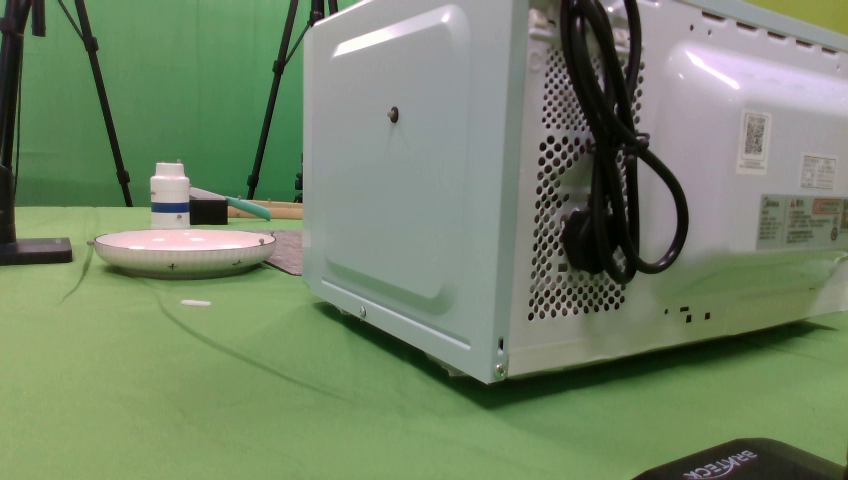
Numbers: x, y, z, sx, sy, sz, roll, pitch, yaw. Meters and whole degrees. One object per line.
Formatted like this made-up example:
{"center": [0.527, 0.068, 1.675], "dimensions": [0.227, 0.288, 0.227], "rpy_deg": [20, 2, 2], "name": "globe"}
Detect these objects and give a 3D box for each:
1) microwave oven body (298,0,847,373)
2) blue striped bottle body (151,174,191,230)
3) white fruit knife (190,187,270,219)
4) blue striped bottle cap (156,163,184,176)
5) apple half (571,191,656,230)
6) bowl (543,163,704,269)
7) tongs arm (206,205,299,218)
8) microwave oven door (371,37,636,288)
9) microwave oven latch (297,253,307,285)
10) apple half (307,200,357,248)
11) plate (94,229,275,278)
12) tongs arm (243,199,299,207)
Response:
{"center": [0.151, -0.055, 0.542], "dimensions": [0.444, 0.260, 0.324], "rpy_deg": [-1, 7, -33], "name": "microwave oven body"}
{"center": [-0.439, -0.071, 1.052], "dimensions": [0.063, 0.120, 0.063], "rpy_deg": [2, 7, 0], "name": "blue striped bottle body"}
{"center": [-0.413, -0.081, 1.270], "dimensions": [0.208, 0.027, 0.016], "rpy_deg": [17, 14, -41], "name": "white fruit knife"}
{"center": [-0.438, -0.122, 1.045], "dimensions": [0.044, 0.020, 0.044], "rpy_deg": [5, 6, 0], "name": "blue striped bottle cap"}
{"center": [0.181, -0.030, 0.584], "dimensions": [0.081, 0.033, 0.081], "rpy_deg": [9, -5, 1], "name": "apple half"}
{"center": [0.181, -0.020, 0.585], "dimensions": [0.151, 0.077, 0.151], "rpy_deg": [13, 7, -1], "name": "bowl"}
{"center": [-0.302, -0.065, 1.407], "dimensions": [0.389, 0.028, 0.028], "rpy_deg": [1, 4, -15], "name": "tongs arm"}
{"center": [0.110, -0.080, 0.686], "dimensions": [0.358, 0.243, 0.039], "rpy_deg": [-2, 9, -33], "name": "microwave oven door"}
{"center": [-0.082, 0.027, 0.582], "dimensions": [0.079, 0.029, 0.030], "rpy_deg": [-1, 7, -33], "name": "microwave oven latch"}
{"center": [-0.135, -0.024, 0.941], "dimensions": [0.053, 0.074, 0.081], "rpy_deg": [13, 8, 38], "name": "apple half"}
{"center": [-0.291, 0.016, 0.749], "dimensions": [0.208, 0.039, 0.207], "rpy_deg": [2, 7, 0], "name": "plate"}
{"center": [-0.309, -0.079, 1.487], "dimensions": [0.385, 0.026, 0.050], "rpy_deg": [3, 7, -2], "name": "tongs arm"}
